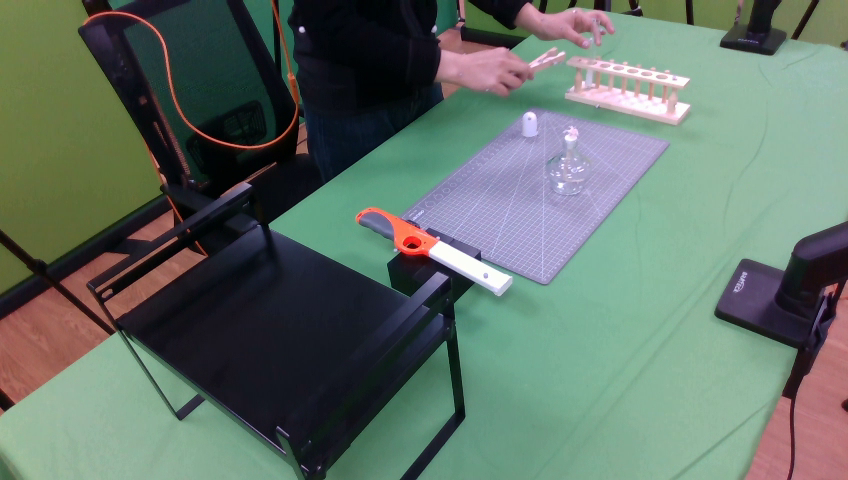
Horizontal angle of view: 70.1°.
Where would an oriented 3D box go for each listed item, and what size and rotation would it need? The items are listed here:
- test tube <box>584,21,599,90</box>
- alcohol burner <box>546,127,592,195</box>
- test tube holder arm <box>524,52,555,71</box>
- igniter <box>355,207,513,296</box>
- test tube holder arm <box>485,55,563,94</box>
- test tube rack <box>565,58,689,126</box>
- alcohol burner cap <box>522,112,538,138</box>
[{"bbox_3d":[0.336,-0.368,1.217,0.017,0.151,0.017,-4,47,4],"label":"test tube"},{"bbox_3d":[0.246,-0.137,1.023,0.078,0.119,0.077,-4,38,4],"label":"alcohol burner"},{"bbox_3d":[0.215,-0.328,1.126,0.010,0.015,0.088,30,53,33],"label":"test tube holder arm"},{"bbox_3d":[0.006,0.010,0.885,0.274,0.025,0.057,27,53,30],"label":"igniter"},{"bbox_3d":[0.184,-0.304,1.104,0.179,0.015,0.013,-28,46,-22],"label":"test tube holder arm"},{"bbox_3d":[0.411,-0.311,1.230,0.240,0.085,0.067,23,49,32],"label":"test tube rack"},{"bbox_3d":[0.210,-0.230,1.195,0.034,0.048,0.033,-5,41,5],"label":"alcohol burner cap"}]
